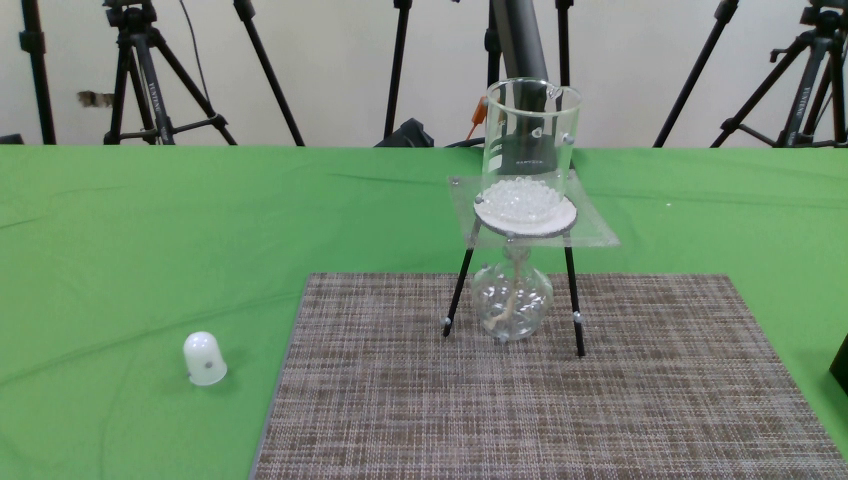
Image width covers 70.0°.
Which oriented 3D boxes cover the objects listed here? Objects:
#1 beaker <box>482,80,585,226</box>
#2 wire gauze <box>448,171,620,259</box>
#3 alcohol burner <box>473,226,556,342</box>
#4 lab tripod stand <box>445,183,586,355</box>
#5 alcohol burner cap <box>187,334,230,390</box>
[{"bbox_3d":[0.087,-0.070,0.493,0.073,0.101,0.084,22,40,27],"label":"beaker"},{"bbox_3d":[0.088,-0.025,0.514,0.125,0.011,0.120,0,36,-6],"label":"wire gauze"},{"bbox_3d":[0.085,0.036,0.559,0.078,0.120,0.077,1,36,0],"label":"alcohol burner"},{"bbox_3d":[0.093,0.026,0.556,0.148,0.132,0.147,1,34,0],"label":"lab tripod stand"},{"bbox_3d":[-0.192,0.105,0.533,0.034,0.048,0.033,0,35,0],"label":"alcohol burner cap"}]
